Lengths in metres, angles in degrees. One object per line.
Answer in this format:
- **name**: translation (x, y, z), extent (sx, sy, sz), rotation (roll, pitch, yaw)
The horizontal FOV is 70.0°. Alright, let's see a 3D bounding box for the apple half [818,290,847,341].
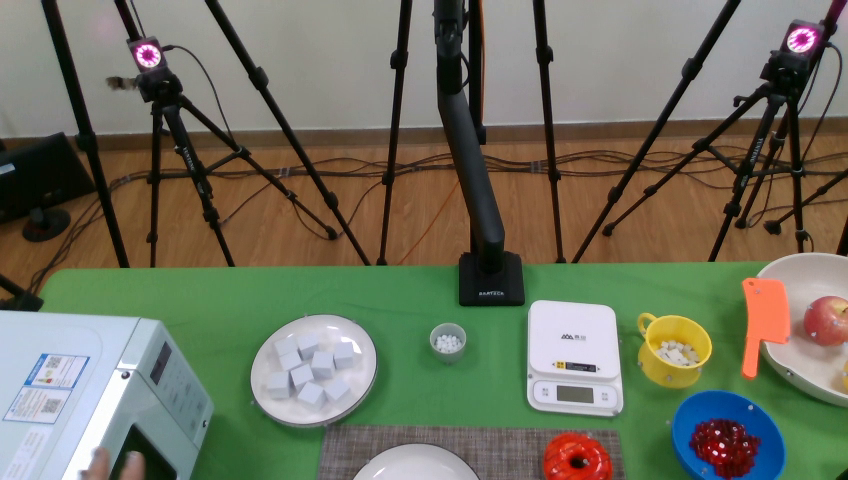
- **apple half**: translation (0.679, 0.125, 0.994), extent (0.053, 0.075, 0.080), rotation (-5, 44, -5)

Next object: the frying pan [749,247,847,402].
- **frying pan**: translation (0.713, 0.197, 0.912), extent (0.307, 0.104, 0.482), rotation (-21, 42, -13)

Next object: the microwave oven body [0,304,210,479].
- **microwave oven body**: translation (-0.519, 0.331, 0.764), extent (0.326, 0.262, 0.437), rotation (2, 49, 5)

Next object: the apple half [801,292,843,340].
- **apple half**: translation (0.640, 0.129, 0.991), extent (0.033, 0.082, 0.080), rotation (-5, 48, -5)

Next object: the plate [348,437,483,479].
- **plate**: translation (-0.012, 0.378, 0.839), extent (0.209, 0.038, 0.207), rotation (-2, 48, 3)

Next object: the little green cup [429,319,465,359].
- **little green cup**: translation (0.040, 0.170, 1.027), extent (0.061, 0.039, 0.061), rotation (-2, 48, 3)

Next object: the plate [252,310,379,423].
- **plate**: translation (-0.177, 0.210, 1.005), extent (0.207, 0.039, 0.205), rotation (-2, 48, 2)

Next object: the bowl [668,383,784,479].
- **bowl**: translation (0.420, 0.290, 0.866), extent (0.151, 0.077, 0.150), rotation (-2, 49, 3)

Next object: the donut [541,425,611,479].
- **donut**: translation (0.218, 0.315, 0.875), extent (0.099, 0.049, 0.098), rotation (-3, 48, 4)

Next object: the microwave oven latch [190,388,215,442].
- **microwave oven latch**: translation (-0.349, 0.269, 0.939), extent (0.030, 0.030, 0.078), rotation (3, 49, 6)

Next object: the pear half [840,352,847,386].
- **pear half**: translation (0.675, 0.193, 0.909), extent (0.075, 0.111, 0.056), rotation (28, 56, 31)

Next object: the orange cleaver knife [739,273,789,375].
- **orange cleaver knife**: translation (0.538, 0.128, 0.961), extent (0.077, 0.012, 0.210), rotation (14, 51, 17)

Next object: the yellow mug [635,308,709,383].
- **yellow mug**: translation (0.394, 0.162, 0.991), extent (0.100, 0.064, 0.129), rotation (-26, 50, -17)

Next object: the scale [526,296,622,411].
- **scale**: translation (0.246, 0.183, 1.006), extent (0.148, 0.032, 0.199), rotation (3, 49, 7)

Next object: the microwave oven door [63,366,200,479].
- **microwave oven door**: translation (-0.378, 0.363, 0.718), extent (0.039, 0.246, 0.352), rotation (2, 48, 6)
